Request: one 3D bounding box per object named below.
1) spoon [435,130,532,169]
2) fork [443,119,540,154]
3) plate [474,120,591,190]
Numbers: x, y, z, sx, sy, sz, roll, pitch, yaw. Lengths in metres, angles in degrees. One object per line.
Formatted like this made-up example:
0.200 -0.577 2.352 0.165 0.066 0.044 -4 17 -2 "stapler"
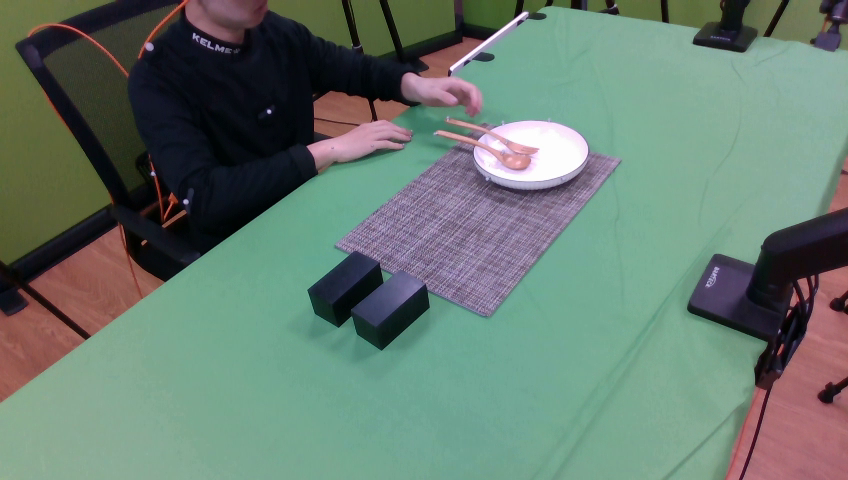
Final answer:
0.107 -0.171 1.112 0.193 0.022 0.041 25 52 15 "spoon"
0.123 -0.198 1.144 0.206 0.019 0.028 27 48 23 "fork"
0.196 -0.151 1.099 0.207 0.039 0.206 -4 40 4 "plate"
